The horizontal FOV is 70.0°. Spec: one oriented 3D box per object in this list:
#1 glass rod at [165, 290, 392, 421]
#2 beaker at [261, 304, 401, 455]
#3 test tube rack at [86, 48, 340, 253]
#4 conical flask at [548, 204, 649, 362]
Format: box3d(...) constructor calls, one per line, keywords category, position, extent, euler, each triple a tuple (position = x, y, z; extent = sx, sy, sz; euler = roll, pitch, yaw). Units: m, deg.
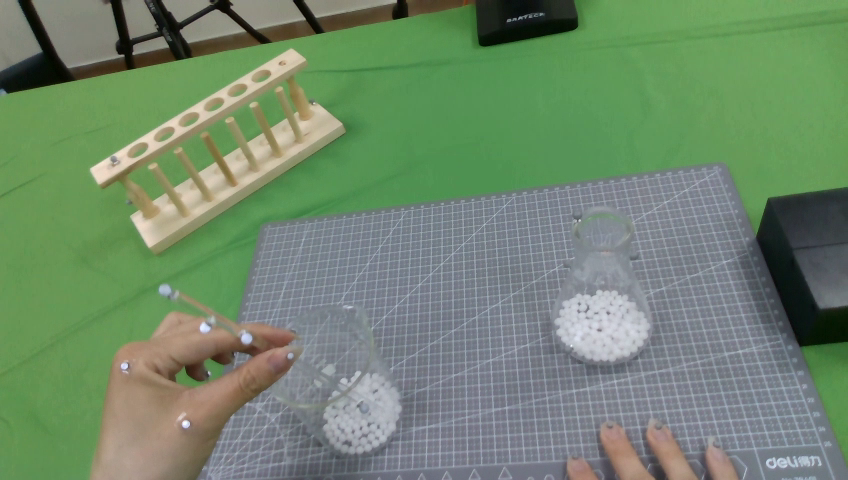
box3d(category="glass rod", position=(-0.080, 0.080, 0.383), extent=(0.008, 0.202, 0.008), euler=(-22, 47, 25))
box3d(category="beaker", position=(-0.059, 0.101, 0.432), extent=(0.073, 0.101, 0.083), euler=(19, 59, 27))
box3d(category="test tube rack", position=(-0.216, -0.099, 0.647), extent=(0.242, 0.086, 0.066), euler=(-37, 52, -15))
box3d(category="conical flask", position=(0.123, 0.028, 0.427), extent=(0.075, 0.123, 0.074), euler=(-7, 51, 10))
